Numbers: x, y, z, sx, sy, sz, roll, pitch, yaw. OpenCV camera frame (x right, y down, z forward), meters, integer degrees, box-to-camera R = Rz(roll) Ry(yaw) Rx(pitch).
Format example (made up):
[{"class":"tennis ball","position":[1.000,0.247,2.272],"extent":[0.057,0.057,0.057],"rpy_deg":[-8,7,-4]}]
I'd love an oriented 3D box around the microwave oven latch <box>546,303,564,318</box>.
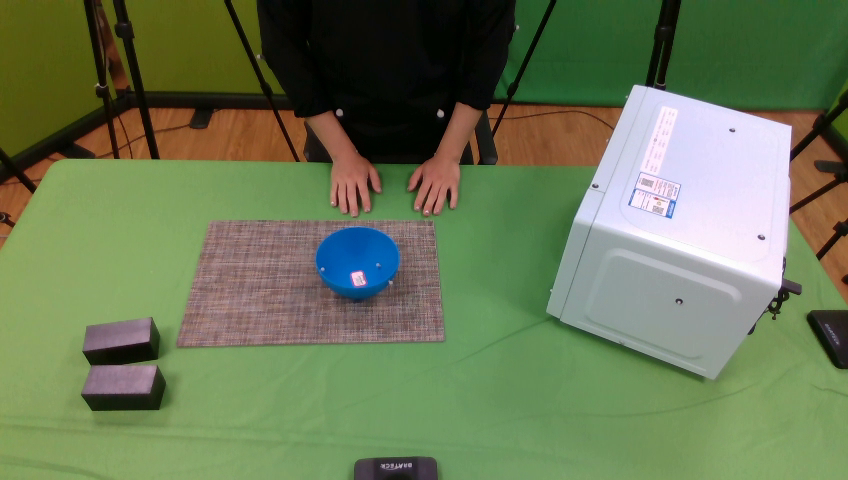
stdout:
[{"class":"microwave oven latch","position":[0.242,0.102,1.081],"extent":[0.030,0.029,0.079],"rpy_deg":[21,48,17]}]

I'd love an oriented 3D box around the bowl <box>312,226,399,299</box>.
[{"class":"bowl","position":[-0.120,0.054,1.091],"extent":[0.151,0.077,0.150],"rpy_deg":[2,46,-2]}]

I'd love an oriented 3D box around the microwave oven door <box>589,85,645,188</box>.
[{"class":"microwave oven door","position":[0.342,-0.107,1.149],"extent":[0.039,0.245,0.354],"rpy_deg":[20,48,15]}]

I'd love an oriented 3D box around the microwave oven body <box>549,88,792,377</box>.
[{"class":"microwave oven body","position":[0.456,-0.028,1.088],"extent":[0.325,0.261,0.440],"rpy_deg":[20,47,16]}]
